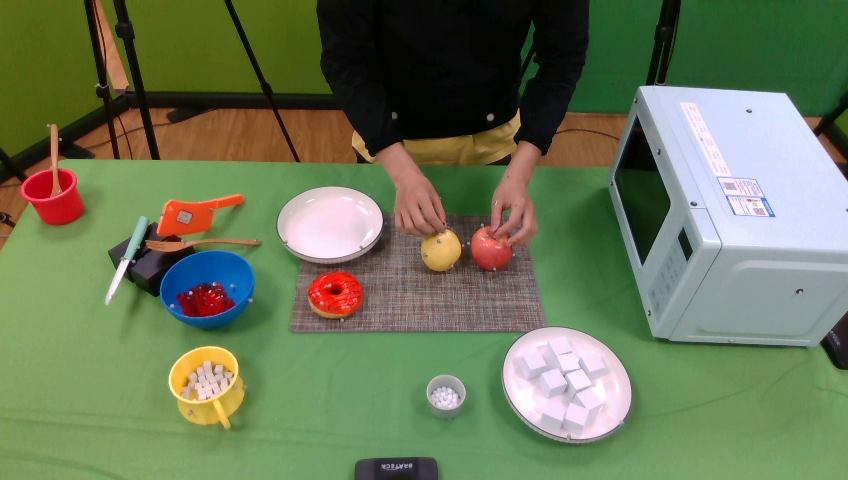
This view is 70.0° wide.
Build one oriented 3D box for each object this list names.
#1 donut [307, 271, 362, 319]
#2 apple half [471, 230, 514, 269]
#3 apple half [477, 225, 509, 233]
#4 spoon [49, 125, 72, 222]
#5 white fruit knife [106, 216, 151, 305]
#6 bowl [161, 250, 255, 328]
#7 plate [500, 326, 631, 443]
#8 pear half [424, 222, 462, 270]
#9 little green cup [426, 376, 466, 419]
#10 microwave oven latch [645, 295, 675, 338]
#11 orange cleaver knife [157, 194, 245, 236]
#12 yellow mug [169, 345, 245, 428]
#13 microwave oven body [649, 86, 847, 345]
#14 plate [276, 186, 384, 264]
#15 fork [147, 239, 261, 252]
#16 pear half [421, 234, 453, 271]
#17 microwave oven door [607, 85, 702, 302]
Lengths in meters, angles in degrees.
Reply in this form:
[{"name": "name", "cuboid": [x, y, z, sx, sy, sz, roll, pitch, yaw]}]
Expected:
[{"name": "donut", "cuboid": [-0.157, 0.097, 1.073, 0.099, 0.048, 0.098, 4, 45, -4]}, {"name": "apple half", "cuboid": [0.129, 0.024, 1.140, 0.081, 0.075, 0.053, 8, 47, -10]}, {"name": "apple half", "cuboid": [0.129, -0.003, 1.168, 0.081, 0.081, 0.032, 2, 47, -2]}, {"name": "spoon", "cuboid": [-0.717, -0.131, 1.189, 0.042, 0.021, 0.193, -3, 90, -7]}, {"name": "white fruit knife", "cuboid": [-0.519, 0.032, 1.066, 0.027, 0.016, 0.206, -18, 45, 19]}, {"name": "bowl", "cuboid": [-0.362, 0.097, 1.040, 0.151, 0.077, 0.150, 2, 45, -2]}, {"name": "plate", "cuboid": [0.224, 0.233, 0.978, 0.208, 0.039, 0.206, 2, 46, -2]}, {"name": "pear half", "cuboid": [0.039, 0.000, 1.135, 0.076, 0.110, 0.056, 25, 49, 15]}, {"name": "little green cup", "cuboid": [0.033, 0.248, 0.950, 0.061, 0.039, 0.061, 2, 46, -2]}, {"name": "microwave oven latch", "cuboid": [0.412, 0.134, 1.061, 0.030, 0.029, 0.078, 3, 45, 0]}, {"name": "orange cleaver knife", "cuboid": [-0.427, -0.050, 1.175, 0.012, 0.077, 0.211, 22, 19, 20]}, {"name": "yellow mug", "cuboid": [-0.322, 0.230, 0.922, 0.100, 0.064, 0.130, -24, 53, -25]}, {"name": "microwave oven body", "cuboid": [0.567, -0.053, 1.118, 0.326, 0.261, 0.439, 2, 45, -1]}, {"name": "plate", "cuboid": [-0.184, -0.027, 1.195, 0.209, 0.038, 0.208, 2, 46, -2]}, {"name": "fork", "cuboid": [-0.399, 0.007, 1.118, 0.208, 0.019, 0.028, -4, 36, -36]}, {"name": "pear half", "cuboid": [0.020, 0.028, 1.120, 0.070, 0.088, 0.031, 25, 50, 13]}, {"name": "microwave oven door", "cuboid": [0.423, -0.094, 1.140, 0.039, 0.245, 0.353, 2, 46, -1]}]
